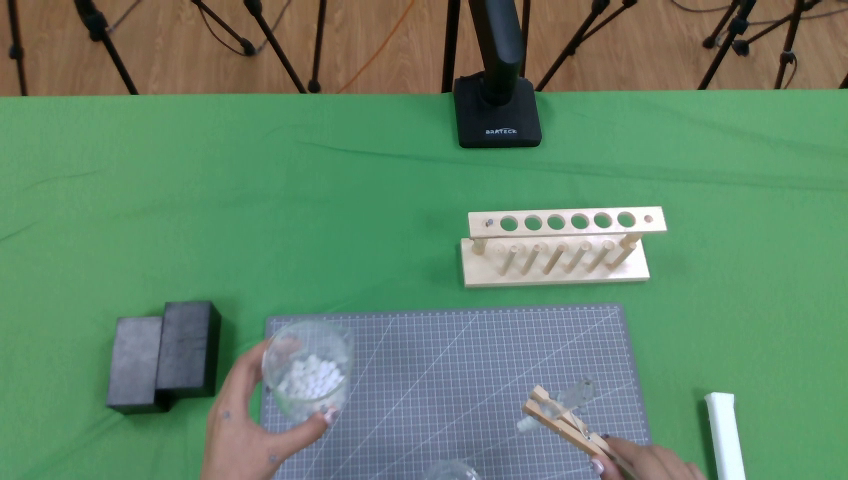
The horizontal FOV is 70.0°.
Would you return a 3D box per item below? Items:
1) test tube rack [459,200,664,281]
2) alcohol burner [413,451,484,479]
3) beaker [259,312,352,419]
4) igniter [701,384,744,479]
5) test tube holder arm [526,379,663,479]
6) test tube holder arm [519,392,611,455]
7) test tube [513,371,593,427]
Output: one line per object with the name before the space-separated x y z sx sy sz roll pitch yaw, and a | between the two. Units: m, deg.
test tube rack | 0.171 0.001 0.767 0.243 0.086 0.066 -2 65 -5
alcohol burner | 0.027 0.254 0.620 0.078 0.120 0.077 2 63 -4
beaker | -0.102 0.116 0.549 0.084 0.101 0.073 -35 71 -24
igniter | 0.344 0.300 0.674 0.057 0.025 0.274 8 64 -11
test tube holder arm | 0.163 0.181 0.523 0.178 0.015 0.013 37 68 7
test tube holder arm | 0.123 0.160 0.525 0.087 0.015 0.010 31 67 4
test tube | 0.107 0.141 0.526 0.017 0.151 0.017 6 62 -10
